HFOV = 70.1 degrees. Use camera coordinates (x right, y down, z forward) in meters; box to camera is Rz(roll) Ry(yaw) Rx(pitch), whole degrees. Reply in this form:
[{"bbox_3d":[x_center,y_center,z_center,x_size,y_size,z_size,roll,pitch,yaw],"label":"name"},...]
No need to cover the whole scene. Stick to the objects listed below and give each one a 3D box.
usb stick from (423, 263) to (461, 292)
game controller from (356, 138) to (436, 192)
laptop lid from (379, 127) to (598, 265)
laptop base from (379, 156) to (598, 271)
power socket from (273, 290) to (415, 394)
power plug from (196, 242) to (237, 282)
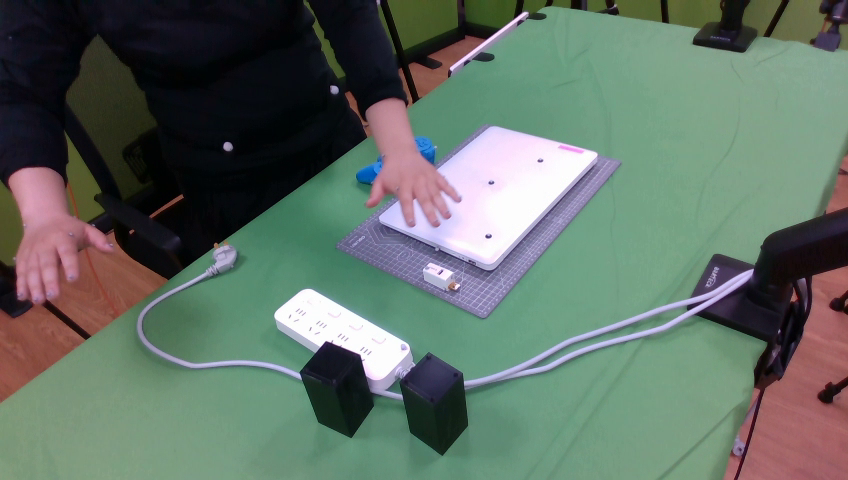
[{"bbox_3d":[0.028,0.058,0.889,0.059,0.027,0.021,24,46,29],"label":"usb stick"},{"bbox_3d":[-0.049,-0.149,1.136,0.096,0.052,0.155,26,50,29],"label":"game controller"},{"bbox_3d":[0.117,-0.095,1.048,0.239,0.013,0.358,24,49,34],"label":"laptop lid"},{"bbox_3d":[0.120,-0.085,1.054,0.233,0.023,0.355,21,48,34],"label":"laptop base"},{"bbox_3d":[-0.114,0.133,0.820,0.225,0.033,0.072,24,48,31],"label":"power socket"},{"bbox_3d":[-0.336,0.030,0.968,0.073,0.035,0.052,-17,57,-30],"label":"power plug"}]
